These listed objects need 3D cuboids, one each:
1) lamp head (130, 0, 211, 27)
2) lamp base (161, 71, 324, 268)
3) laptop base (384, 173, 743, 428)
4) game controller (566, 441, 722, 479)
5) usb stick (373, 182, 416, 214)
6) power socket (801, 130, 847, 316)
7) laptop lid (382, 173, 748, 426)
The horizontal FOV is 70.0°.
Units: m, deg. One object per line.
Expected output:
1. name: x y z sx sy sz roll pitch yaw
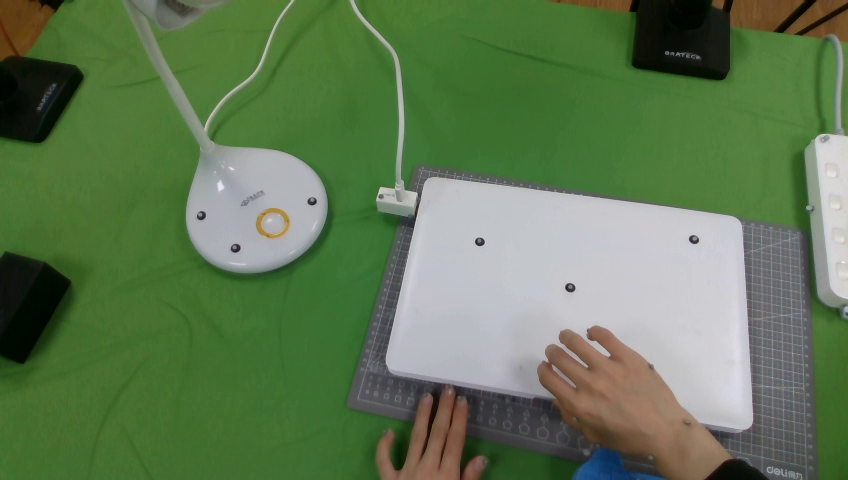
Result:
1. lamp head: -0.170 -0.206 0.355 0.123 0.112 0.112 37 68 -7
2. lamp base: -0.208 -0.082 0.634 0.178 0.182 0.160 36 70 21
3. laptop base: 0.151 0.054 0.645 0.354 0.023 0.234 8 68 6
4. game controller: 0.200 0.238 0.537 0.155 0.052 0.096 11 62 6
5. usb stick: -0.027 -0.046 0.686 0.059 0.027 0.021 12 59 4
6. power socket: 0.463 -0.027 0.666 0.072 0.033 0.225 10 64 5
7. laptop lid: 0.149 0.048 0.629 0.356 0.013 0.240 10 64 7
